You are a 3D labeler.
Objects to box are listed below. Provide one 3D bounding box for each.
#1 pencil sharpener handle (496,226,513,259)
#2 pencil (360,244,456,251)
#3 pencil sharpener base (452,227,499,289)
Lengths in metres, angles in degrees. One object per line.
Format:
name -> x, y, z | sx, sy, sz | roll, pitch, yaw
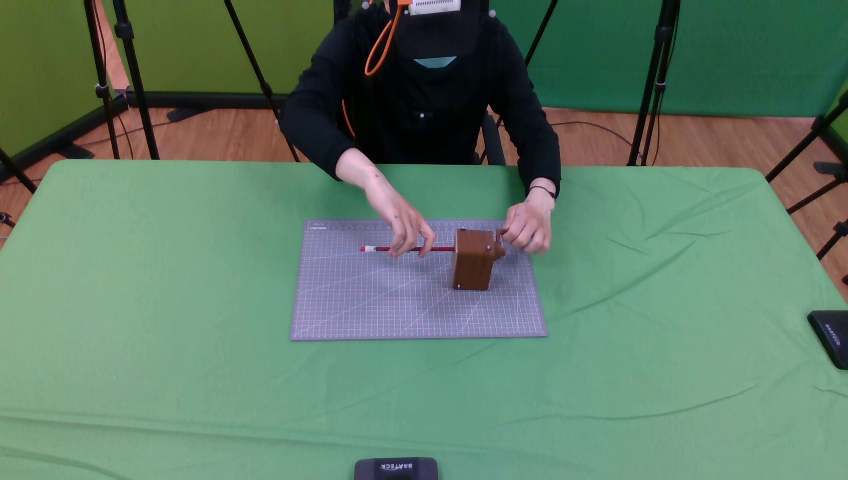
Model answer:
pencil sharpener handle -> 0.145, 0.005, 1.092 | 0.030, 0.036, 0.067 | 3, 59, -1
pencil -> -0.017, 0.014, 1.083 | 0.194, 0.012, 0.012 | 0, 47, 0
pencil sharpener base -> 0.093, 0.035, 1.102 | 0.077, 0.107, 0.061 | 3, 46, -1
